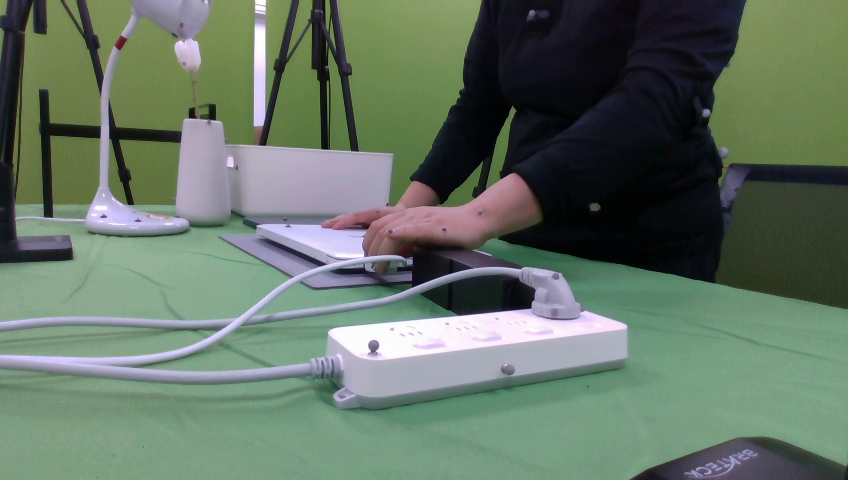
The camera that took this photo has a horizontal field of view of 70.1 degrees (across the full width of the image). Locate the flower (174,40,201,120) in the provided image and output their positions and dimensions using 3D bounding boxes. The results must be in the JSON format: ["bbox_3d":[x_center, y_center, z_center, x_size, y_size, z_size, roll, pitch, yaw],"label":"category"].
[{"bbox_3d":[-0.431,-0.211,1.166,0.044,0.361,0.038,-10,-4,-23],"label":"flower"}]

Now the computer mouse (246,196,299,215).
[{"bbox_3d":[-0.355,-0.082,1.417,0.117,0.041,0.063,1,9,7],"label":"computer mouse"}]

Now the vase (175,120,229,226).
[{"bbox_3d":[-0.425,-0.128,1.158,0.098,0.200,0.098,2,9,0],"label":"vase"}]

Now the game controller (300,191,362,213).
[{"bbox_3d":[-0.241,-0.098,1.549,0.155,0.051,0.097,2,9,5],"label":"game controller"}]

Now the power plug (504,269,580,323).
[{"bbox_3d":[0.092,0.051,0.469,0.035,0.052,0.072,-1,7,-15],"label":"power plug"}]

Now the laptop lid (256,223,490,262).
[{"bbox_3d":[-0.093,0.001,0.911,0.243,0.013,0.355,2,7,-30],"label":"laptop lid"}]

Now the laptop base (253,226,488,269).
[{"bbox_3d":[-0.096,0.011,0.911,0.237,0.023,0.352,3,6,-32],"label":"laptop base"}]

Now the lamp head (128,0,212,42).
[{"bbox_3d":[-0.423,-0.394,0.980,0.123,0.112,0.112,20,7,-3],"label":"lamp head"}]

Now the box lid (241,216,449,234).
[{"bbox_3d":[-0.162,-0.030,1.233,0.373,0.015,0.262,-1,8,-32],"label":"box lid"}]

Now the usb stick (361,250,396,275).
[{"bbox_3d":[-0.057,0.026,0.700,0.021,0.027,0.059,-13,4,-30],"label":"usb stick"}]

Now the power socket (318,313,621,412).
[{"bbox_3d":[0.037,0.076,0.408,0.228,0.032,0.072,-1,8,-29],"label":"power socket"}]

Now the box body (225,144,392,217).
[{"bbox_3d":[-0.289,-0.143,1.474,0.366,0.160,0.253,-1,9,-29],"label":"box body"}]

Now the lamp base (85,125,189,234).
[{"bbox_3d":[-0.498,-0.105,1.026,0.179,0.180,0.160,1,7,3],"label":"lamp base"}]
